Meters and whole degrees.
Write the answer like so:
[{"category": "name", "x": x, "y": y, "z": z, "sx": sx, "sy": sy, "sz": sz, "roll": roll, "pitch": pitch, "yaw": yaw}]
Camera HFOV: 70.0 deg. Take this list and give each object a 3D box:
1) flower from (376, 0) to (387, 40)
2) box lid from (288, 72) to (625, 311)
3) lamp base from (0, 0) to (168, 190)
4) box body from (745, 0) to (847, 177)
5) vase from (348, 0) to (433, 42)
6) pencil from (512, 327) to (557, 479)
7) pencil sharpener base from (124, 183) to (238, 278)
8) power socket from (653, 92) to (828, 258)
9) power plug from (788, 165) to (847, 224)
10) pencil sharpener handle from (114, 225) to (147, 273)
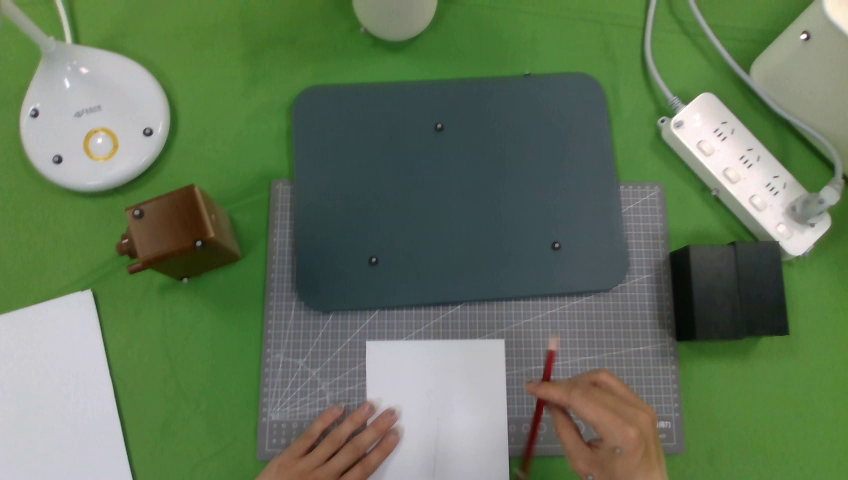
[{"category": "flower", "x": -0.022, "y": -0.326, "z": 0.558, "sx": 0.044, "sy": 0.364, "sz": 0.038, "roll": -26, "pitch": 69, "yaw": -23}, {"category": "box lid", "x": 0.036, "y": -0.061, "z": 0.688, "sx": 0.372, "sy": 0.015, "sz": 0.262, "roll": -4, "pitch": 79, "yaw": -4}, {"category": "lamp base", "x": -0.371, "y": -0.158, "z": 0.600, "sx": 0.160, "sy": 0.181, "sz": 0.178, "roll": -31, "pitch": 79, "yaw": -8}, {"category": "box body", "x": 0.580, "y": -0.172, "z": 0.661, "sx": 0.254, "sy": 0.161, "sz": 0.363, "roll": -44, "pitch": 84, "yaw": -10}, {"category": "vase", "x": -0.035, "y": -0.295, "z": 0.636, "sx": 0.098, "sy": 0.200, "sz": 0.097, "roll": 1, "pitch": 77, "yaw": -4}, {"category": "pencil", "x": 0.091, "y": 0.166, "z": 0.525, "sx": 0.012, "sy": 0.012, "sz": 0.194, "roll": 12, "pitch": 100, "yaw": 0}, {"category": "pencil sharpener base", "x": -0.244, "y": -0.005, "z": 0.614, "sx": 0.077, "sy": 0.107, "sz": 0.061, "roll": -21, "pitch": 80, "yaw": -6}, {"category": "power socket", "x": 0.364, "y": -0.076, "z": 0.698, "sx": 0.072, "sy": 0.033, "sz": 0.226, "roll": -40, "pitch": 83, "yaw": -10}, {"category": "power plug", "x": 0.437, "y": -0.045, "z": 0.672, "sx": 0.072, "sy": 0.053, "sz": 0.035, "roll": -29, "pitch": 79, "yaw": -13}, {"category": "pencil sharpener handle", "x": -0.290, "y": 0.013, "z": 0.595, "sx": 0.030, "sy": 0.068, "sz": 0.035, "roll": -21, "pitch": 67, "yaw": -6}]
